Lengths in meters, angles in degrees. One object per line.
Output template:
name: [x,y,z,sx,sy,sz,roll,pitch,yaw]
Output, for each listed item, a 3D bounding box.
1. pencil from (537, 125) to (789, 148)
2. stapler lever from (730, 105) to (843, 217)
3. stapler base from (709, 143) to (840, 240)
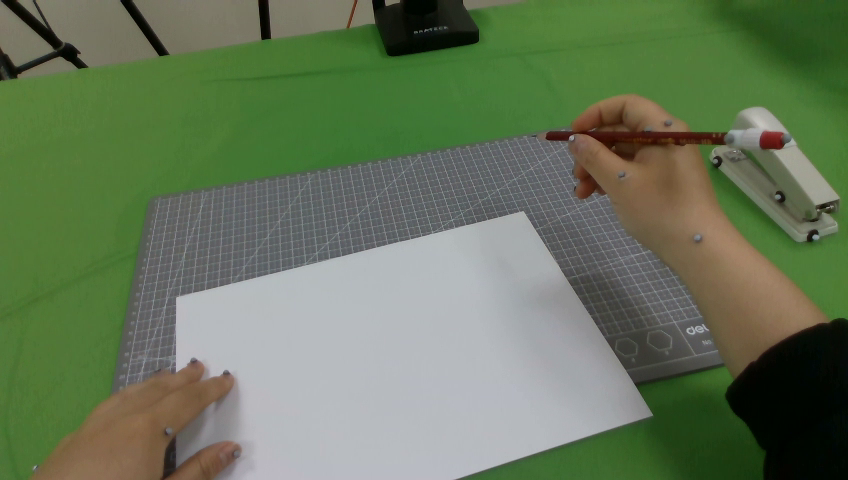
pencil: [0.135,-0.067,0.387,0.012,0.012,0.192,-29,22,-22]
stapler lever: [0.303,-0.070,0.509,0.027,0.040,0.116,-16,48,-7]
stapler base: [0.304,-0.054,0.529,0.041,0.025,0.129,-16,47,-8]
